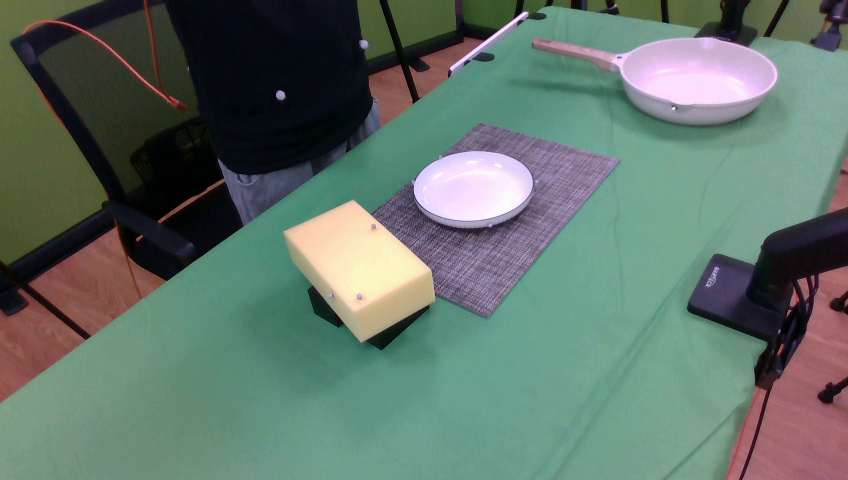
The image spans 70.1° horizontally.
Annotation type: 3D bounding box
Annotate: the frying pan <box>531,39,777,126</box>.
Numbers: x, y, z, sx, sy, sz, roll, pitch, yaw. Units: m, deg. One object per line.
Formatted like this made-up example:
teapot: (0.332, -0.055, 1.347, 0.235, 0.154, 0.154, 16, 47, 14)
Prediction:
frying pan: (0.452, -0.354, 1.254, 0.485, 0.103, 0.307, 22, 47, 19)

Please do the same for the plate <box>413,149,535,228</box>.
plate: (0.086, -0.085, 1.038, 0.207, 0.039, 0.206, -4, 40, 4)

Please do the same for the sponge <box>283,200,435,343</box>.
sponge: (-0.094, 0.035, 0.835, 0.119, 0.061, 0.205, -28, 45, -23)
